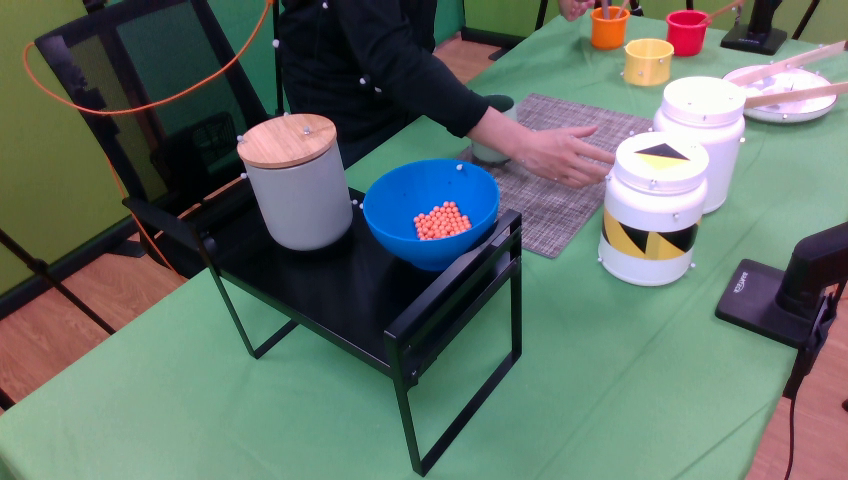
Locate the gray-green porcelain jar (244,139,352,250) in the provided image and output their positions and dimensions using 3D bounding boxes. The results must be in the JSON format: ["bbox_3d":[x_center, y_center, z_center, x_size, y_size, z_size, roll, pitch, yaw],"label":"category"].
[{"bbox_3d":[-0.144,-0.060,0.714,0.106,0.127,0.105,-4,41,4],"label":"gray-green porcelain jar"}]

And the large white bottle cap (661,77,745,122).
[{"bbox_3d":[0.415,-0.210,0.904,0.115,0.018,0.114,-4,40,4],"label":"large white bottle cap"}]

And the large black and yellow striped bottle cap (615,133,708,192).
[{"bbox_3d":[0.313,-0.105,0.798,0.115,0.019,0.114,-5,41,5],"label":"large black and yellow striped bottle cap"}]

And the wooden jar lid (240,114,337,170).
[{"bbox_3d":[-0.149,-0.106,0.673,0.108,0.021,0.108,-6,39,5],"label":"wooden jar lid"}]

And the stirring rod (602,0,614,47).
[{"bbox_3d":[0.441,-0.552,1.464,0.014,0.006,0.175,-6,83,5],"label":"stirring rod"}]

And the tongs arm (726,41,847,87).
[{"bbox_3d":[0.712,-0.332,1.194,0.386,0.026,0.050,-18,44,-16],"label":"tongs arm"}]

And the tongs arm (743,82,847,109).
[{"bbox_3d":[0.738,-0.282,1.134,0.388,0.028,0.028,-9,46,-5],"label":"tongs arm"}]

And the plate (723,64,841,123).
[{"bbox_3d":[0.695,-0.282,1.189,0.207,0.039,0.206,-4,40,4],"label":"plate"}]

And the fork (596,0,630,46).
[{"bbox_3d":[0.481,-0.556,1.453,0.028,0.019,0.207,40,103,38],"label":"fork"}]

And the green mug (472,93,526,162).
[{"bbox_3d":[0.144,-0.202,1.122,0.093,0.105,0.124,-29,45,-23],"label":"green mug"}]

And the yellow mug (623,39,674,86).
[{"bbox_3d":[0.484,-0.398,1.334,0.100,0.064,0.130,-18,41,-11],"label":"yellow mug"}]

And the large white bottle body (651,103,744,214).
[{"bbox_3d":[0.426,-0.146,0.958,0.130,0.185,0.130,-4,40,4],"label":"large white bottle body"}]

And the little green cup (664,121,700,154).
[{"bbox_3d":[0.473,-0.188,1.113,0.061,0.039,0.061,-5,40,5],"label":"little green cup"}]

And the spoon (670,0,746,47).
[{"bbox_3d":[0.629,-0.485,1.350,0.022,0.193,0.042,48,54,-7],"label":"spoon"}]

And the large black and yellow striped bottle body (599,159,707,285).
[{"bbox_3d":[0.320,-0.042,0.854,0.131,0.185,0.130,-4,41,4],"label":"large black and yellow striped bottle body"}]

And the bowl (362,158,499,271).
[{"bbox_3d":[0.011,-0.019,0.679,0.151,0.077,0.150,-5,41,4],"label":"bowl"}]
